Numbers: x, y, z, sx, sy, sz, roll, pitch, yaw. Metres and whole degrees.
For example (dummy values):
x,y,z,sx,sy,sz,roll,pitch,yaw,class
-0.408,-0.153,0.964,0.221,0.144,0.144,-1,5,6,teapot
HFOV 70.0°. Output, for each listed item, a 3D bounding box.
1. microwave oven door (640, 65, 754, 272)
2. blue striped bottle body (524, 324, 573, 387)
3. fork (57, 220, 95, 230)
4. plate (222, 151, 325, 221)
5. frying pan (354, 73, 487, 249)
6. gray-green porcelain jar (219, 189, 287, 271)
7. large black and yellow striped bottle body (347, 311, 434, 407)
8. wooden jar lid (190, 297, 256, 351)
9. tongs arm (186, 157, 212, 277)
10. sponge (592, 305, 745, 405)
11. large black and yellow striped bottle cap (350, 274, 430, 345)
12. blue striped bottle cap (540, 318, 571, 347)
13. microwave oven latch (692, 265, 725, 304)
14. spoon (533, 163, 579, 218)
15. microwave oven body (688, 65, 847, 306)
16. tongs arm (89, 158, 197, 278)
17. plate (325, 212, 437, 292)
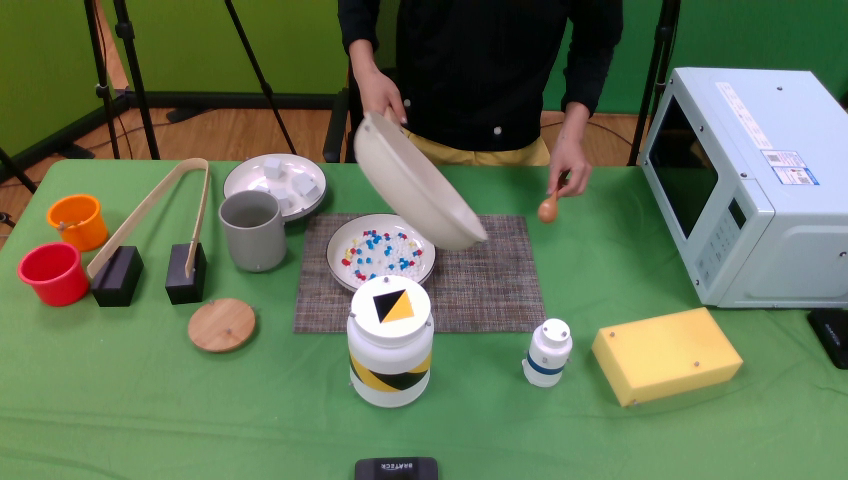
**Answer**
x,y,z,sx,sy,sz,roll,pitch,yaw,class
0.523,-0.147,1.193,0.039,0.245,0.353,0,47,-3,microwave oven door
0.200,0.178,0.970,0.063,0.121,0.062,2,46,-1,blue striped bottle body
-0.624,-0.027,1.086,0.028,0.207,0.018,-3,92,-17,fork
-0.310,-0.106,1.262,0.208,0.039,0.206,2,47,-2,plate
-0.037,-0.166,1.096,0.103,0.309,0.484,-35,45,17,frying pan
-0.310,-0.014,1.114,0.106,0.127,0.105,2,46,-2,gray-green porcelain jar
-0.052,0.157,0.929,0.131,0.185,0.130,2,47,-2,large black and yellow striped bottle body
-0.342,0.145,1.033,0.108,0.021,0.107,2,45,-2,wooden jar lid
-0.445,-0.058,1.168,0.051,0.026,0.382,-5,37,-6,tongs arm
0.405,0.190,1.014,0.207,0.061,0.117,-10,48,-12,sponge
-0.048,0.097,0.868,0.115,0.019,0.114,3,48,-3,large black and yellow striped bottle cap
0.203,0.142,0.933,0.044,0.021,0.044,3,49,-3,blue striped bottle cap
0.522,0.081,1.116,0.030,0.029,0.078,1,46,-2,microwave oven latch
0.264,-0.103,1.197,0.021,0.042,0.193,20,45,35,spoon
0.669,-0.111,1.176,0.326,0.261,0.439,0,46,-3,microwave oven body
-0.529,-0.058,1.164,0.028,0.028,0.385,1,36,8,tongs arm
-0.080,0.030,1.143,0.209,0.038,0.208,3,46,-3,plate
